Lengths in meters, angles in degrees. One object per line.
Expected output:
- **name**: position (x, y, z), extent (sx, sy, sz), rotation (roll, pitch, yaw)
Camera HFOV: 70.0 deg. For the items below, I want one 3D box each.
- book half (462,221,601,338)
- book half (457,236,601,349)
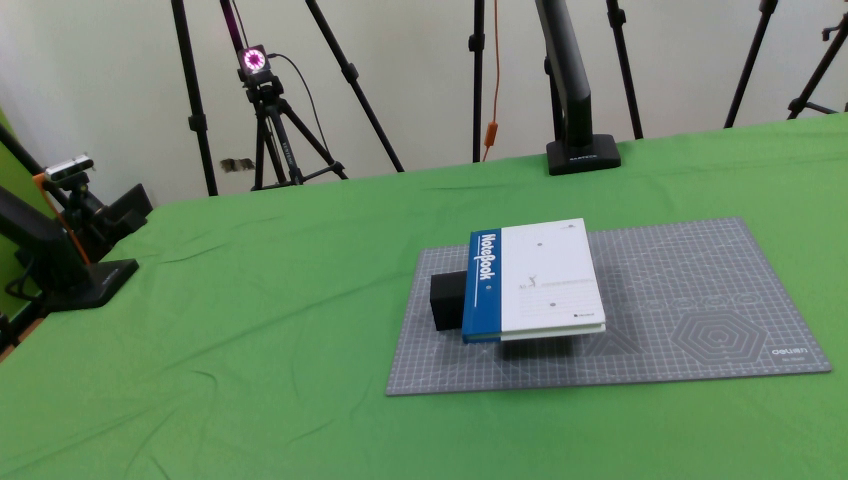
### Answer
- **book half**: position (0.119, 0.040, 0.704), extent (0.143, 0.007, 0.208), rotation (-7, 30, 11)
- **book half**: position (0.117, 0.046, 0.708), extent (0.148, 0.016, 0.208), rotation (-7, 31, 11)
